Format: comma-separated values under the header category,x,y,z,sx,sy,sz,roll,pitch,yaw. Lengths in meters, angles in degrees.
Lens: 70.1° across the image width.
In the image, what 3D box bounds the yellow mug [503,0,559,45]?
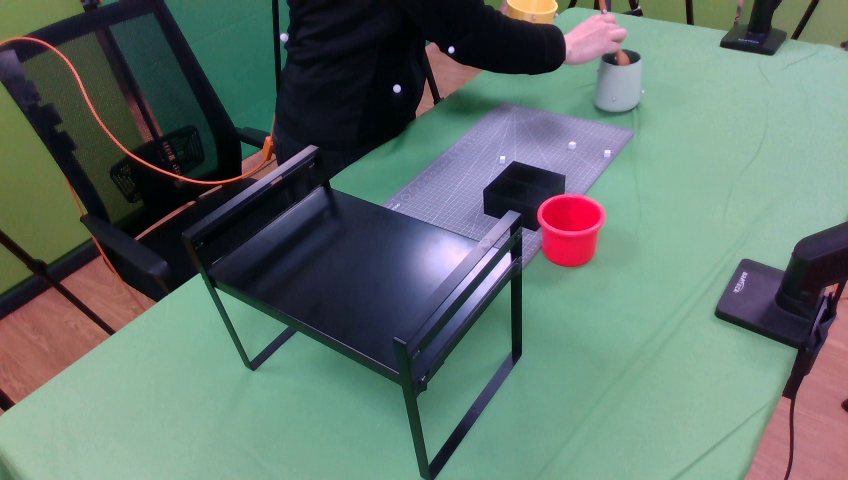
category,x,y,z,sx,sy,sz,roll,pitch,yaw
yellow mug,0.208,-0.448,1.203,0.100,0.064,0.130,-1,43,-7

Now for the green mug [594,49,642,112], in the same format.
category,x,y,z,sx,sy,sz,roll,pitch,yaw
green mug,0.397,-0.333,1.240,0.092,0.105,0.125,-3,41,7

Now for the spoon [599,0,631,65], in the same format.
category,x,y,z,sx,sy,sz,roll,pitch,yaw
spoon,0.363,-0.385,1.156,0.021,0.195,0.041,16,65,47
